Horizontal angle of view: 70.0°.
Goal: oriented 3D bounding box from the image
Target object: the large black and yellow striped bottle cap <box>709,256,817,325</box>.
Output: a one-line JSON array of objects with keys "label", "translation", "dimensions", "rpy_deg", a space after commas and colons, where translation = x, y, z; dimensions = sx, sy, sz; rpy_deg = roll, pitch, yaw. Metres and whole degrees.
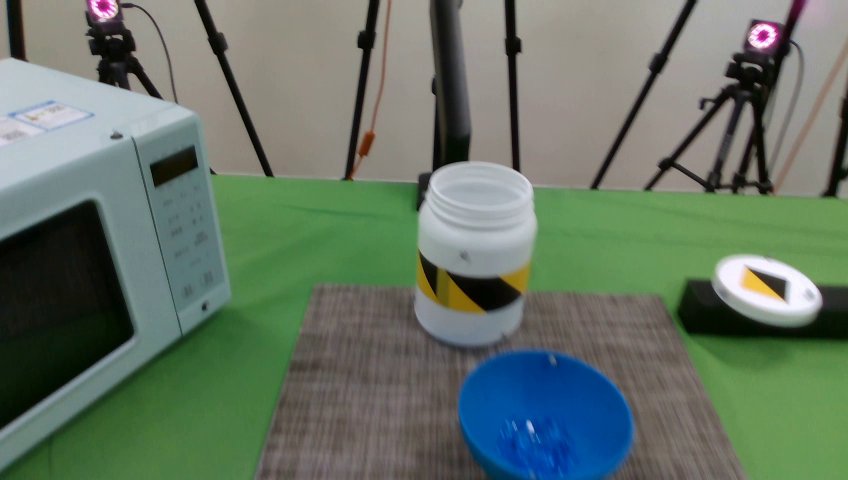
[{"label": "large black and yellow striped bottle cap", "translation": [0.401, 0.057, 0.719], "dimensions": [0.115, 0.019, 0.114], "rpy_deg": [1, 32, 0]}]

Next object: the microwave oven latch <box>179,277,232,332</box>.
[{"label": "microwave oven latch", "translation": [-0.257, 0.070, 0.696], "dimensions": [0.030, 0.030, 0.079], "rpy_deg": [20, 37, 23]}]

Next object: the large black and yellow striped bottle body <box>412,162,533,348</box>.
[{"label": "large black and yellow striped bottle body", "translation": [0.053, 0.016, 0.691], "dimensions": [0.131, 0.185, 0.129], "rpy_deg": [2, 33, -1]}]

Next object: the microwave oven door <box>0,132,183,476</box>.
[{"label": "microwave oven door", "translation": [-0.360, 0.086, 0.476], "dimensions": [0.039, 0.246, 0.355], "rpy_deg": [18, 36, 22]}]

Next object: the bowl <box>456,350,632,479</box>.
[{"label": "bowl", "translation": [0.101, 0.178, 0.542], "dimensions": [0.151, 0.077, 0.150], "rpy_deg": [1, 33, -1]}]

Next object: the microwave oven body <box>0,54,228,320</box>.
[{"label": "microwave oven body", "translation": [-0.469, 0.030, 0.565], "dimensions": [0.324, 0.262, 0.440], "rpy_deg": [18, 37, 22]}]
